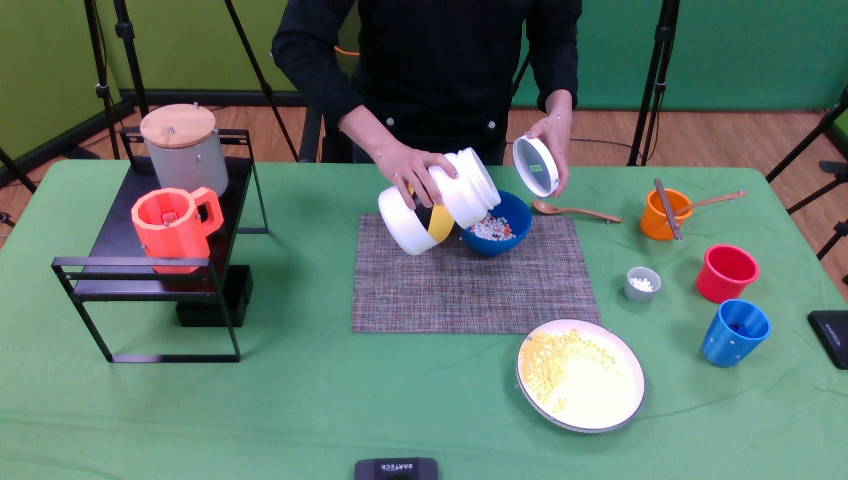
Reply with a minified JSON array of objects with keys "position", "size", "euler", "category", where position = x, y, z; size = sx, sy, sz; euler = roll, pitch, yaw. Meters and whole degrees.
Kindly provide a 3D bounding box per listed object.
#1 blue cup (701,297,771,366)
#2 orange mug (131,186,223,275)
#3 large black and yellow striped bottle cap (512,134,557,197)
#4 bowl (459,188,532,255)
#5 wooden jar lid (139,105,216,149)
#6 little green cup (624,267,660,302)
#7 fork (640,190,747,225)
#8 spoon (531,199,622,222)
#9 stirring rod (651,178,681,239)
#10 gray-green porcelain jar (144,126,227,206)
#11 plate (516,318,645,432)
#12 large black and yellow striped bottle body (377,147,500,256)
[{"position":[0.519,0.162,1.025],"size":[0.093,0.101,0.092],"euler":[3,45,-3],"category":"blue cup"},{"position":[-0.354,-0.023,0.887],"size":[0.083,0.101,0.126],"euler":[31,56,24],"category":"orange mug"},{"position":[0.195,-0.131,1.070],"size":[0.019,0.115,0.114],"euler":[-28,53,-12],"category":"large black and yellow striped bottle cap"},{"position":[0.130,-0.025,1.186],"size":[0.151,0.077,0.150],"euler":[2,46,-2],"category":"bowl"},{"position":[-0.372,-0.169,0.920],"size":[0.108,0.021,0.107],"euler":[4,44,-4],"category":"wooden jar lid"},{"position":[0.406,0.084,1.135],"size":[0.061,0.039,0.061],"euler":[3,45,-3],"category":"little green cup"},{"position":[0.533,-0.064,1.211],"size":[0.207,0.019,0.028],"euler":[-22,28,38],"category":"fork"},{"position":[0.322,-0.060,1.279],"size":[0.194,0.022,0.041],"euler":[8,32,5],"category":"spoon"},{"position":[0.480,-0.065,1.204],"size":[0.014,0.006,0.175],"euler":[3,46,-3],"category":"stirring rod"},{"position":[-0.375,-0.125,0.967],"size":[0.106,0.127,0.105],"euler":[2,46,-2],"category":"gray-green porcelain jar"},{"position":[0.253,0.221,0.993],"size":[0.209,0.038,0.208],"euler":[2,46,-2],"category":"plate"},{"position":[0.026,-0.068,1.044],"size":[0.184,0.131,0.130],"euler":[-29,47,13],"category":"large black and yellow striped bottle body"}]
